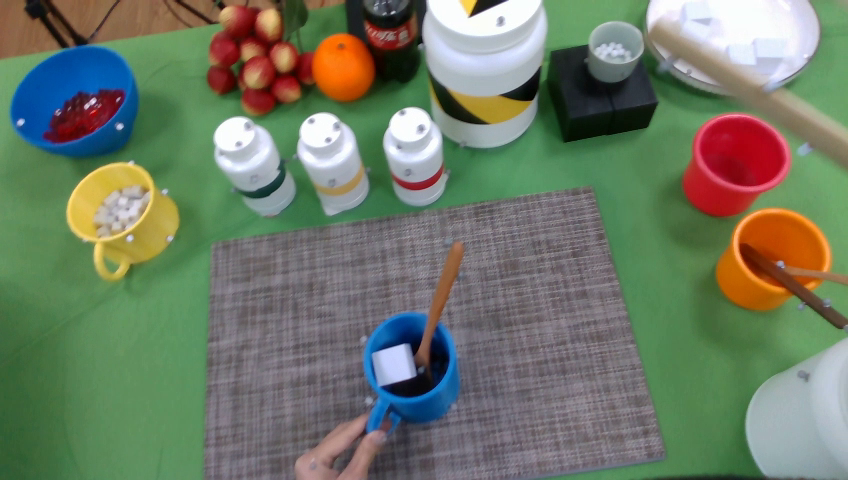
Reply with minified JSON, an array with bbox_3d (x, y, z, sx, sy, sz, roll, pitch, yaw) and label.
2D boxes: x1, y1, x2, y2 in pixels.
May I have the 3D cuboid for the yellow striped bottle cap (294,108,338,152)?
[{"bbox_3d":[-0.113,-0.115,0.630,0.044,0.019,0.044,-1,67,3],"label":"yellow striped bottle cap"}]

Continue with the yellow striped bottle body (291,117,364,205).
[{"bbox_3d":[-0.108,-0.093,0.677,0.063,0.121,0.062,-2,65,5],"label":"yellow striped bottle body"}]

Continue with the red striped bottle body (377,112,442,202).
[{"bbox_3d":[-0.015,-0.097,0.672,0.063,0.120,0.062,-3,64,6],"label":"red striped bottle body"}]

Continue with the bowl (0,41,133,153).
[{"bbox_3d":[-0.428,-0.163,0.757,0.151,0.077,0.150,-1,66,3],"label":"bowl"}]

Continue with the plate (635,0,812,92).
[{"bbox_3d":[0.370,-0.268,0.764,0.209,0.038,0.207,-1,66,4],"label":"plate"}]

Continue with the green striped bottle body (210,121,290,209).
[{"bbox_3d":[-0.198,-0.088,0.683,0.063,0.120,0.062,-2,65,4],"label":"green striped bottle body"}]

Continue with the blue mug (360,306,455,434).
[{"bbox_3d":[-0.021,0.132,0.574,0.082,0.106,0.116,29,71,17],"label":"blue mug"}]

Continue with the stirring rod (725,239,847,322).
[{"bbox_3d":[0.337,0.033,0.577,0.014,0.006,0.175,-6,22,-1],"label":"stirring rod"}]

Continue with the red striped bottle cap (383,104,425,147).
[{"bbox_3d":[-0.021,-0.119,0.624,0.044,0.018,0.044,0,64,1],"label":"red striped bottle cap"}]

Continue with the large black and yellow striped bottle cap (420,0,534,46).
[{"bbox_3d":[0.052,-0.244,0.605,0.115,0.019,0.114,-2,65,5],"label":"large black and yellow striped bottle cap"}]

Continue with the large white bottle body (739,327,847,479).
[{"bbox_3d":[0.359,0.144,0.497,0.130,0.186,0.129,-2,65,4],"label":"large white bottle body"}]

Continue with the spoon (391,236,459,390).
[{"bbox_3d":[0.003,0.079,0.547,0.041,0.195,0.021,29,37,21],"label":"spoon"}]

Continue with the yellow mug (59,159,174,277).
[{"bbox_3d":[-0.353,-0.021,0.694,0.100,0.064,0.130,1,66,4],"label":"yellow mug"}]

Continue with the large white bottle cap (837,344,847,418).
[{"bbox_3d":[0.352,0.108,0.421,0.115,0.018,0.114,-2,65,4],"label":"large white bottle cap"}]

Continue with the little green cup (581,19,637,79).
[{"bbox_3d":[0.210,-0.218,0.698,0.061,0.039,0.061,-1,63,2],"label":"little green cup"}]

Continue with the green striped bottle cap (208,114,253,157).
[{"bbox_3d":[-0.203,-0.110,0.635,0.044,0.020,0.044,-1,65,3],"label":"green striped bottle cap"}]

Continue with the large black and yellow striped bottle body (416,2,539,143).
[{"bbox_3d":[0.060,-0.210,0.682,0.131,0.185,0.129,-2,66,4],"label":"large black and yellow striped bottle body"}]

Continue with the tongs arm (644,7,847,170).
[{"bbox_3d":[0.300,-0.032,0.346,0.384,0.026,0.050,37,75,4],"label":"tongs arm"}]

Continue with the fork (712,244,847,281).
[{"bbox_3d":[0.366,0.031,0.568,0.028,0.019,0.205,-35,23,-19],"label":"fork"}]
